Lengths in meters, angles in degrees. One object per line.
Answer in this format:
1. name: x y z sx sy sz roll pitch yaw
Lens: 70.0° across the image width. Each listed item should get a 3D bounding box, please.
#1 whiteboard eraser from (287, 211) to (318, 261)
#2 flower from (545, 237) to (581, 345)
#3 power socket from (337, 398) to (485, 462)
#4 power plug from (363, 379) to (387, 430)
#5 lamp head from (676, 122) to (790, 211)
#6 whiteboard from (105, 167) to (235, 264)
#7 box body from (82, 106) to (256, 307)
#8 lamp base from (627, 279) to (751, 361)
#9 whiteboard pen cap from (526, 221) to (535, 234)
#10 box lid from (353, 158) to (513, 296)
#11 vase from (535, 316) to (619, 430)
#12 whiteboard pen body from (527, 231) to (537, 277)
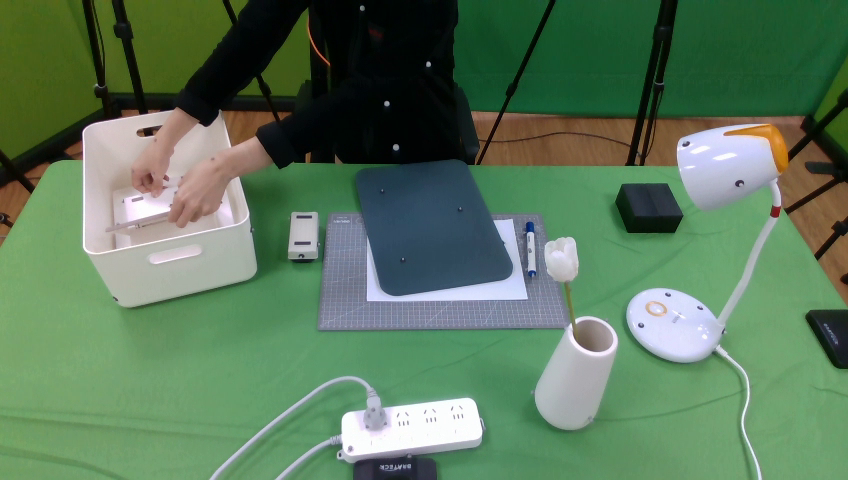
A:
1. whiteboard eraser: -0.234 -0.007 1.173 0.055 0.042 0.112 -3 47 -5
2. flower: 0.213 0.137 0.846 0.038 0.364 0.044 21 55 39
3. power socket: -0.018 0.285 0.914 0.227 0.033 0.071 -4 46 -8
4. power plug: -0.072 0.252 0.911 0.035 0.053 0.072 3 40 0
5. lamp head: 0.423 -0.104 0.819 0.122 0.113 0.112 -13 33 40
6. whiteboard: -0.478 -0.064 1.116 0.217 0.144 0.303 -16 51 -13
7. box body: -0.471 -0.070 1.131 0.254 0.161 0.361 -14 49 -17
8. lamp base: 0.460 0.100 1.027 0.178 0.181 0.160 27 51 17
9. whiteboard pen cap: 0.216 -0.022 1.234 0.018 0.018 0.033 6 44 1
10. box lid: 0.008 -0.040 1.242 0.264 0.015 0.369 -8 47 -12
11. vase: 0.229 0.200 0.901 0.098 0.201 0.097 3 46 -3
12. whiteboard pen body: 0.211 0.018 1.191 0.017 0.017 0.140 6 44 2
